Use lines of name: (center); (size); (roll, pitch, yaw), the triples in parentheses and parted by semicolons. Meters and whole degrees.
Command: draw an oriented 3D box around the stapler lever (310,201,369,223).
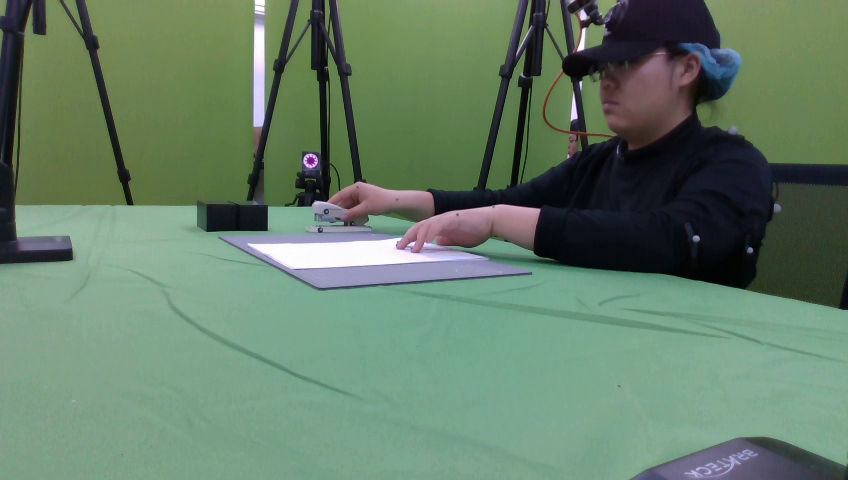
stapler lever: (-0.166, -0.054, 1.184); (0.119, 0.040, 0.026); (0, 9, -33)

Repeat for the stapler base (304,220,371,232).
stapler base: (-0.168, -0.029, 1.186); (0.131, 0.024, 0.041); (0, 9, -33)
